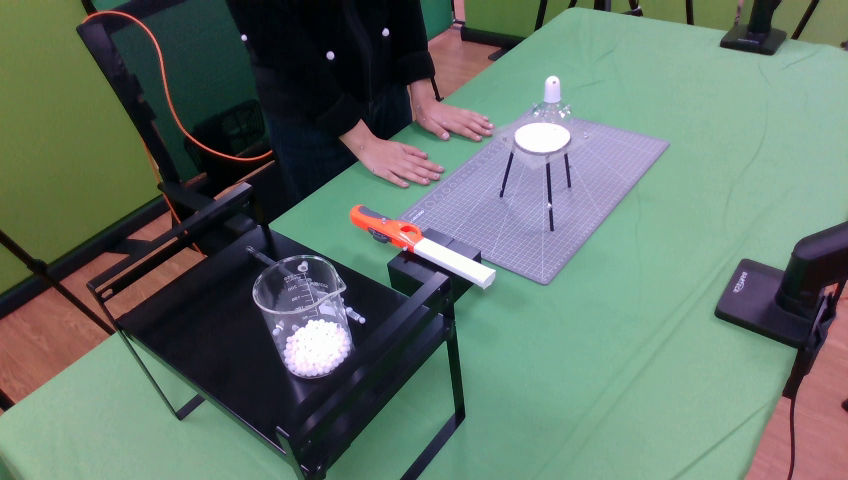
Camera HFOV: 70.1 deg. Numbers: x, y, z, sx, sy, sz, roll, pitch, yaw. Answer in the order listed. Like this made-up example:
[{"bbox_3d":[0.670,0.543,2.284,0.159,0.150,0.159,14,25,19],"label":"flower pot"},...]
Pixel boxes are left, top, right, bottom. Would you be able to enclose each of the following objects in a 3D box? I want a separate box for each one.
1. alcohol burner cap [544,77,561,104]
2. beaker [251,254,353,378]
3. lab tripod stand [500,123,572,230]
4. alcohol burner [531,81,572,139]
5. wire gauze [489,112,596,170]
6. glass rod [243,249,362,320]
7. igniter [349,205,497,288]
[{"bbox_3d":[0.243,-0.285,1.143,0.034,0.048,0.033,-5,37,4],"label":"alcohol burner cap"},{"bbox_3d":[-0.106,0.074,0.565,0.084,0.101,0.073,-1,41,8],"label":"beaker"},{"bbox_3d":[0.194,-0.110,0.985,0.148,0.132,0.147,-3,41,3],"label":"lab tripod stand"},{"bbox_3d":[0.246,-0.256,1.165,0.078,0.119,0.077,-6,40,6],"label":"alcohol burner"},{"bbox_3d":[0.183,-0.161,0.942,0.122,0.011,0.124,-24,44,-18],"label":"wire gauze"},{"bbox_3d":[-0.141,0.046,0.674,0.198,0.008,0.008,24,49,32],"label":"glass rod"},{"bbox_3d":[-0.013,0.004,0.897,0.274,0.025,0.057,25,44,32],"label":"igniter"}]
